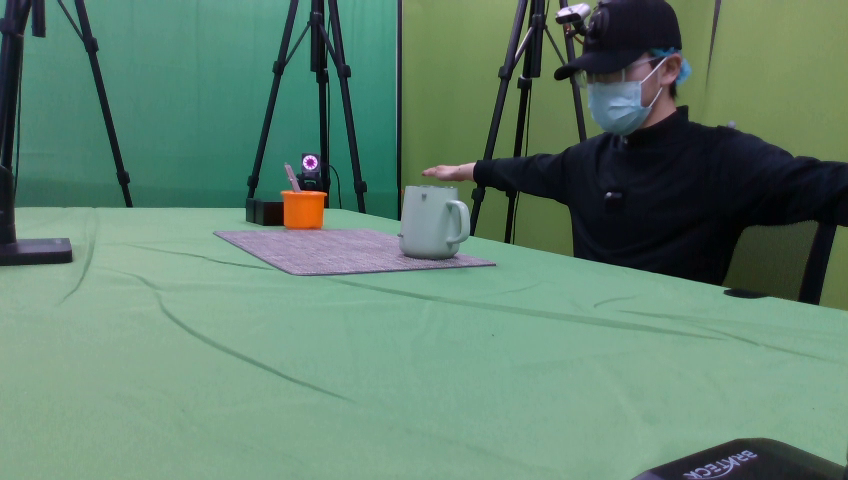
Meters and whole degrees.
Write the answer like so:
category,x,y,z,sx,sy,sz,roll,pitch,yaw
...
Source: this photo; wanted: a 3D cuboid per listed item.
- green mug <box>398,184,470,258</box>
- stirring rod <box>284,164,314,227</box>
category,x,y,z,sx,sy,sz,roll,pitch,yaw
green mug,0.020,-0.028,0.890,0.093,0.105,0.124,-4,10,-42
stirring rod,-0.259,-0.094,1.243,0.014,0.006,0.175,1,49,-39
